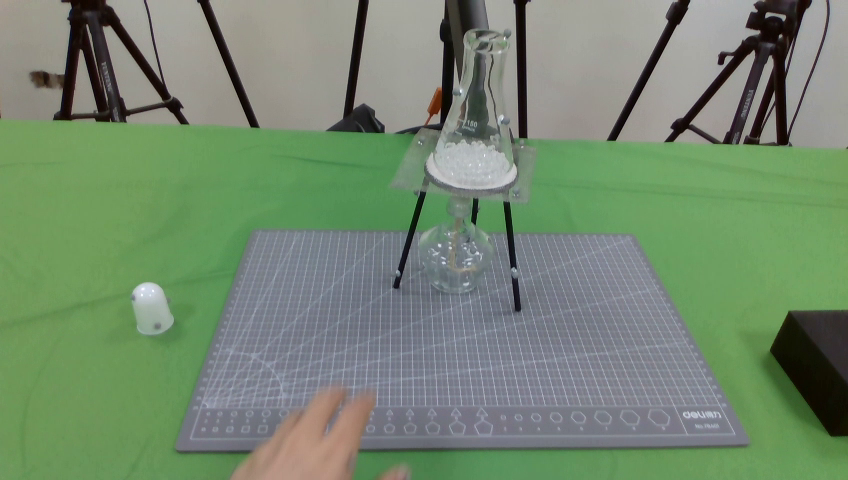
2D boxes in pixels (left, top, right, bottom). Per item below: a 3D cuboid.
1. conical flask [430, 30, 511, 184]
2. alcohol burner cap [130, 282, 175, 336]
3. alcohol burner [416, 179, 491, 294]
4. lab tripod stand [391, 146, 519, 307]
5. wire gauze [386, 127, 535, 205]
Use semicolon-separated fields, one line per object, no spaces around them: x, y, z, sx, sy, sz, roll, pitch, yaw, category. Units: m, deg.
0.045;-0.116;0.527;0.075;0.123;0.074;3;36;-2;conical flask
-0.251;0.061;0.555;0.034;0.048;0.033;2;35;-1;alcohol burner cap
0.031;-0.006;0.607;0.078;0.120;0.077;2;33;-1;alcohol burner
0.042;-0.015;0.602;0.148;0.132;0.147;4;35;-2;lab tripod stand
0.039;-0.069;0.565;0.121;0.011;0.124;9;38;8;wire gauze
